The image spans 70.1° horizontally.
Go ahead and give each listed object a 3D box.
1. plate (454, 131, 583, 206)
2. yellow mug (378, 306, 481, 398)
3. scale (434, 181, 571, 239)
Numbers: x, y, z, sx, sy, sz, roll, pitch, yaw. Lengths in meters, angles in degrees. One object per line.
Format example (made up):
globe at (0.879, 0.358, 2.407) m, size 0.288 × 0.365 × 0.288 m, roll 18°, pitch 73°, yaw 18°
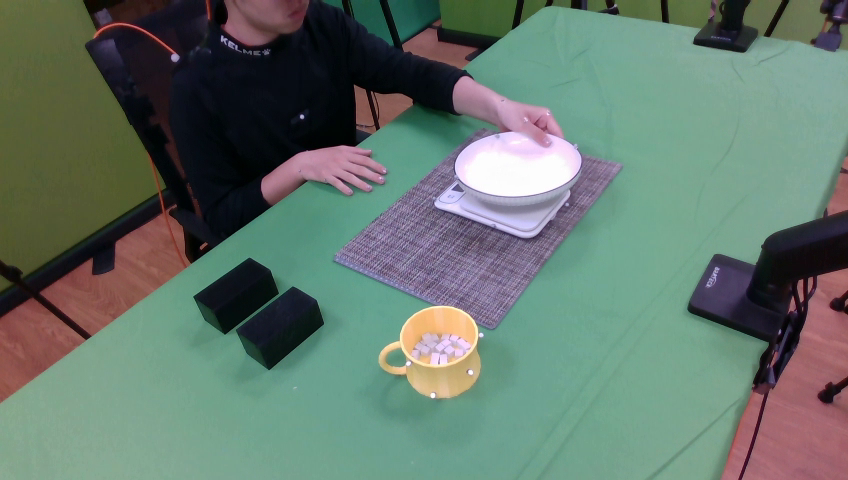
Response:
plate at (0.154, -0.114, 0.991) m, size 0.209 × 0.038 × 0.208 m, roll -5°, pitch 37°, yaw 4°
yellow mug at (0.006, 0.144, 0.766) m, size 0.131 × 0.064 × 0.099 m, roll -10°, pitch 40°, yaw -2°
scale at (0.132, -0.075, 1.024) m, size 0.199 × 0.032 × 0.149 m, roll 22°, pitch 48°, yaw 30°
